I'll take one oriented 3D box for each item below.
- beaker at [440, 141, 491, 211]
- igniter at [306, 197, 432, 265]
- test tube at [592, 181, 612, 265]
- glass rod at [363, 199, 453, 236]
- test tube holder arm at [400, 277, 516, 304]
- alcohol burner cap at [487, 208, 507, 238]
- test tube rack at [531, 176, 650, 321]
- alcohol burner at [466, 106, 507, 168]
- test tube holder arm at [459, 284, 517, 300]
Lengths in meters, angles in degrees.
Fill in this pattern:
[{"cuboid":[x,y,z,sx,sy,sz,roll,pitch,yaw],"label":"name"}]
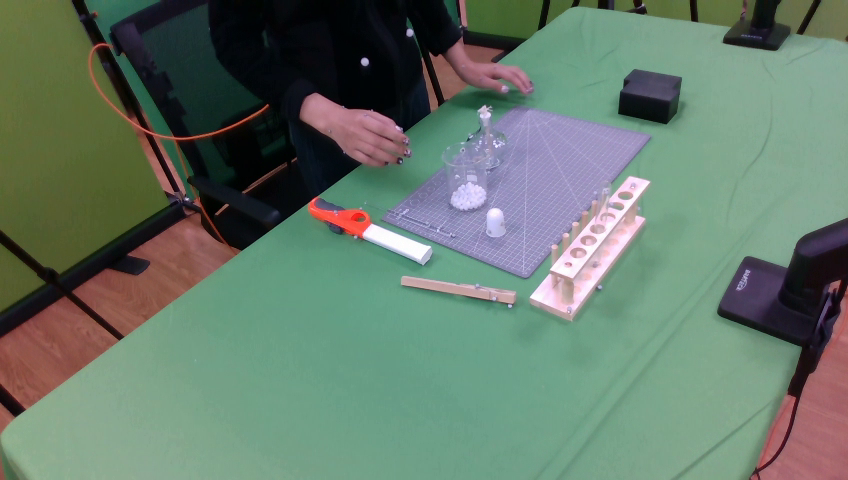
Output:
[{"cuboid":[0.074,-0.106,1.028,0.084,0.101,0.073,-1,41,8],"label":"beaker"},{"cuboid":[-0.102,-0.020,1.019,0.274,0.025,0.057,23,60,32],"label":"igniter"},{"cuboid":[0.245,-0.020,0.833,0.017,0.151,0.017,-5,44,5],"label":"test tube"},{"cuboid":[-0.031,-0.041,1.041,0.198,0.008,0.008,22,50,31],"label":"glass rod"},{"cuboid":[0.047,0.072,0.887,0.177,0.015,0.013,7,10,19],"label":"test tube holder arm"},{"cuboid":[0.116,-0.030,0.975,0.034,0.048,0.033,-6,40,5],"label":"alcohol burner cap"},{"cuboid":[0.246,0.002,0.884,0.066,0.085,0.243,22,49,32],"label":"test tube rack"},{"cuboid":[0.114,-0.193,1.112,0.078,0.119,0.077,-4,41,4],"label":"alcohol burner"},{"cuboid":[0.091,0.077,0.877,0.087,0.015,0.010,8,10,20],"label":"test tube holder arm"}]
